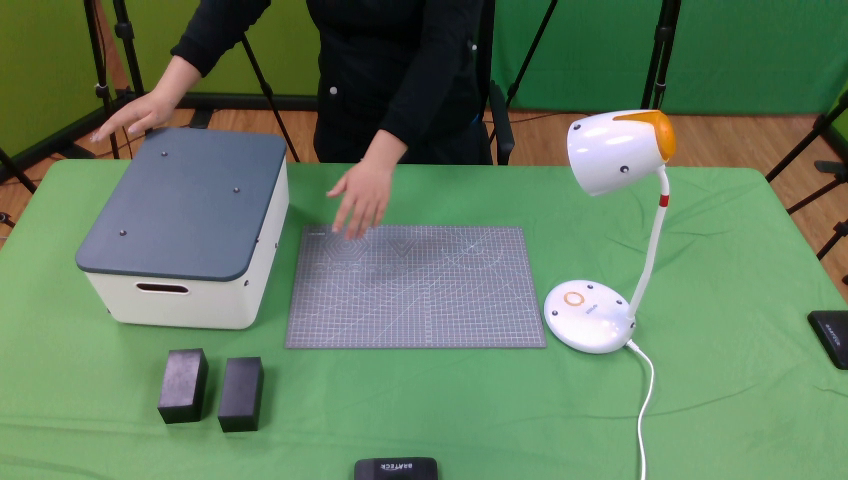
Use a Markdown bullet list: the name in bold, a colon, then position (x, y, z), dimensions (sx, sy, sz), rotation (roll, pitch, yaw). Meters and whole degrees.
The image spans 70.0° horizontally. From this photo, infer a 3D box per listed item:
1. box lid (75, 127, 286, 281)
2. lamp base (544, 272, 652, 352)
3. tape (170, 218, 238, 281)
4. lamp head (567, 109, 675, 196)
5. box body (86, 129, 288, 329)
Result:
- **box lid**: position (-0.398, -0.075, 1.039), dimensions (0.263, 0.015, 0.369), rotation (4, 45, -1)
- **lamp base**: position (0.310, 0.086, 1.029), dimensions (0.178, 0.181, 0.160), rotation (32, 52, 21)
- **tape**: position (-0.406, 0.017, 1.121), dimensions (0.117, 0.053, 0.116), rotation (2, 46, -2)
- **lamp head**: position (0.272, -0.123, 0.818), dimensions (0.122, 0.113, 0.112), rotation (-9, 35, 37)
- **box body**: position (-0.401, -0.025, 1.094), dimensions (0.254, 0.161, 0.362), rotation (3, 46, -1)
